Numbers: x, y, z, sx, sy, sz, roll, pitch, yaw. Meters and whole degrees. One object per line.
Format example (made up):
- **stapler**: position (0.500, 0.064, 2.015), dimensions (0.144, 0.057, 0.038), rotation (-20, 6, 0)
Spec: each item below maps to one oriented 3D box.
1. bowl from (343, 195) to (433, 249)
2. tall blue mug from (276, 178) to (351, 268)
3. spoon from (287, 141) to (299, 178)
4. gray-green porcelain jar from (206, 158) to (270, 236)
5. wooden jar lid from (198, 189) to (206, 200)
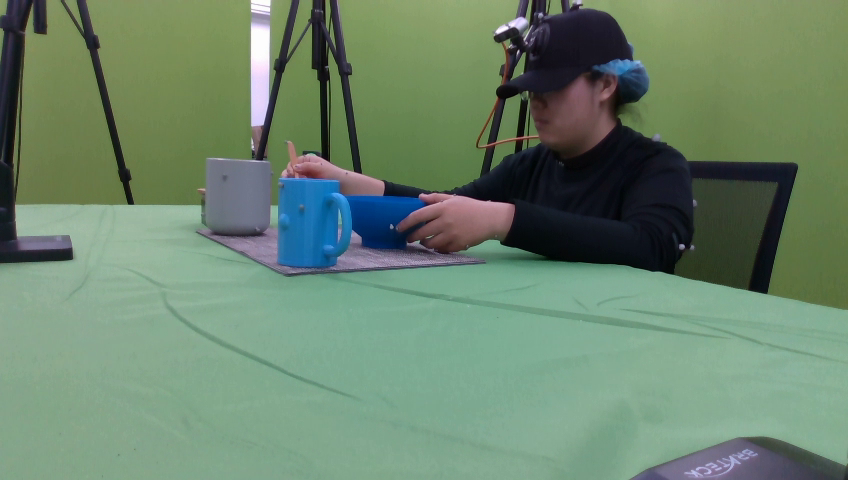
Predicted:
- **bowl**: position (-0.063, -0.029, 0.971), dimensions (0.151, 0.077, 0.151), rotation (3, 7, 0)
- **tall blue mug**: position (-0.133, -0.022, 0.767), dimensions (0.107, 0.108, 0.078), rotation (4, 6, 12)
- **spoon**: position (-0.258, -0.119, 1.224), dimensions (0.042, 0.193, 0.021), rotation (-1, -20, -28)
- **gray-green porcelain jar**: position (-0.316, -0.074, 1.031), dimensions (0.106, 0.126, 0.106), rotation (3, 7, 0)
- **wooden jar lid**: position (-0.382, -0.088, 1.175), dimensions (0.108, 0.020, 0.108), rotation (3, 8, 0)
